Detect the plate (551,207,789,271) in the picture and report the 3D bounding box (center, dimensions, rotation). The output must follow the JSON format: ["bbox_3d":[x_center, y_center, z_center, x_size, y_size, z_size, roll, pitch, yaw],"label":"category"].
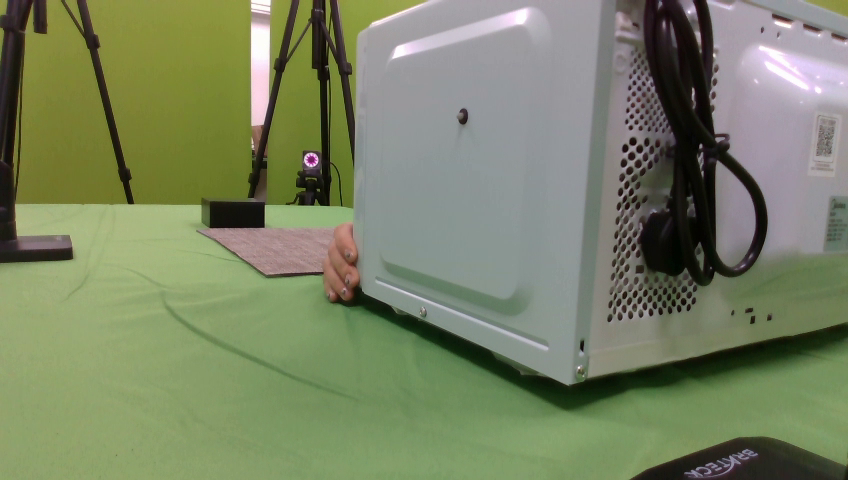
[{"bbox_3d":[0.224,-0.003,0.572,0.209,0.038,0.209,3,8,0],"label":"plate"}]

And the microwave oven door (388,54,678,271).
[{"bbox_3d":[0.138,-0.085,0.733,0.357,0.243,0.039,1,8,-15],"label":"microwave oven door"}]

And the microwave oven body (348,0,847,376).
[{"bbox_3d":[0.199,-0.053,0.539,0.444,0.260,0.324,-1,7,-32],"label":"microwave oven body"}]

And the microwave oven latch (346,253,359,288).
[{"bbox_3d":[-0.034,0.028,0.575,0.079,0.029,0.030,1,6,-20],"label":"microwave oven latch"}]

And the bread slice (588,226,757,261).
[{"bbox_3d":[0.225,0.002,0.569,0.132,0.019,0.104,5,4,-23],"label":"bread slice"}]
